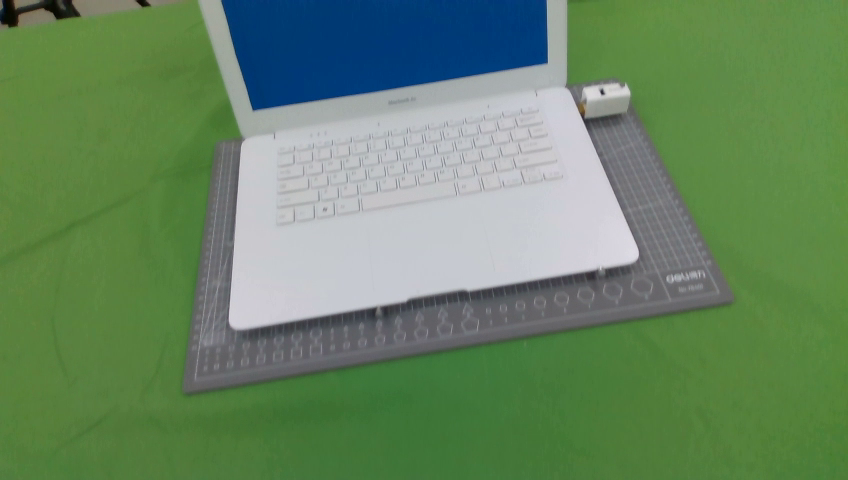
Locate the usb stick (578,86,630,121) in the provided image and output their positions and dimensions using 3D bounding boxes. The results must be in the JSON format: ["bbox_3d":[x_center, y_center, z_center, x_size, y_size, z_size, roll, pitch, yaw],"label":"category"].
[{"bbox_3d":[0.179,-0.139,0.624,0.059,0.027,0.021,-9,52,2],"label":"usb stick"}]

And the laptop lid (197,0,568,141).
[{"bbox_3d":[-0.035,-0.226,0.588,0.357,0.244,0.013,-11,34,0],"label":"laptop lid"}]

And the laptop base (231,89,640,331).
[{"bbox_3d":[-0.003,-0.039,0.582,0.354,0.023,0.233,-10,54,-1],"label":"laptop base"}]
